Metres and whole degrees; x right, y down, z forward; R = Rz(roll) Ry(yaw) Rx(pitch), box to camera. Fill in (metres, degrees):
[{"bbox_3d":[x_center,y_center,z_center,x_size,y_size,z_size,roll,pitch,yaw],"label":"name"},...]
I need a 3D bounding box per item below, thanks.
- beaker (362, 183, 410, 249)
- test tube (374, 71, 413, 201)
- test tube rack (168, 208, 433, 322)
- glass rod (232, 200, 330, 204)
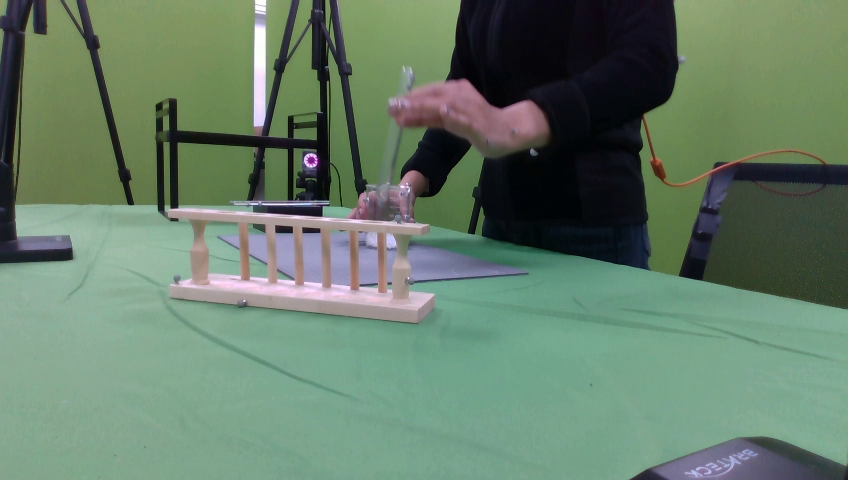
[{"bbox_3d":[-0.058,-0.038,0.956,0.083,0.100,0.074,9,11,42],"label":"beaker"},{"bbox_3d":[-0.035,-0.118,0.686,0.017,0.150,0.017,12,-1,1],"label":"test tube"},{"bbox_3d":[-0.115,0.017,0.574,0.242,0.085,0.067,4,8,13],"label":"test tube rack"},{"bbox_3d":[-0.266,-0.071,1.146,0.201,0.008,0.008,-3,9,-40],"label":"glass rod"}]
